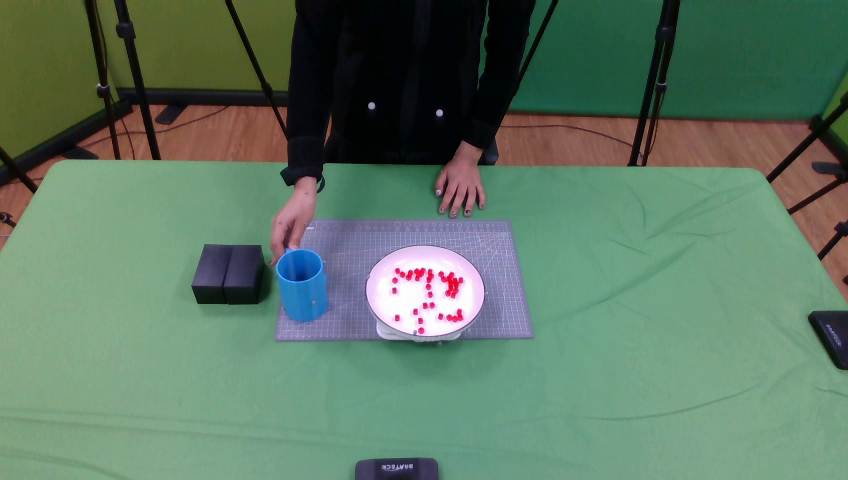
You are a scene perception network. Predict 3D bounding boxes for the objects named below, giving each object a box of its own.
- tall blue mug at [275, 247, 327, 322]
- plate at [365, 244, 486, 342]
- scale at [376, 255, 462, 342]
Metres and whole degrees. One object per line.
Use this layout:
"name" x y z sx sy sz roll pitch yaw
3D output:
"tall blue mug" -0.222 0.071 1.049 0.107 0.108 0.077 27 51 21
"plate" 0.001 0.093 1.051 0.209 0.038 0.208 1 46 -1
"scale" -0.010 0.096 1.094 0.149 0.032 0.199 2 46 -3
